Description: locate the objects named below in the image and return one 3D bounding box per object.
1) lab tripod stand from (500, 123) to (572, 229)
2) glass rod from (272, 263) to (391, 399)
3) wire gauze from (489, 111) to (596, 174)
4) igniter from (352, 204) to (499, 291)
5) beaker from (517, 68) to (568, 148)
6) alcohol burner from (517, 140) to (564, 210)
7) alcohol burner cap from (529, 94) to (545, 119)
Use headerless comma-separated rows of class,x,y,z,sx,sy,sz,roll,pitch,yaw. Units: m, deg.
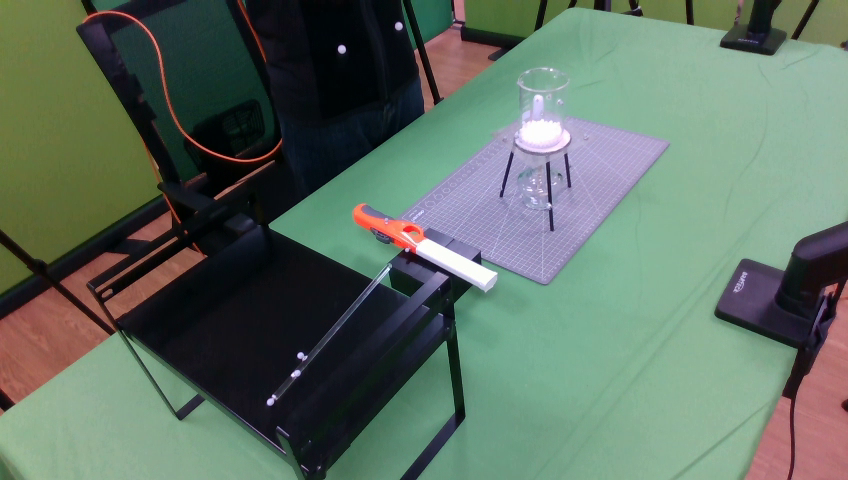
lab tripod stand,0.194,-0.110,0.985,0.148,0.132,0.147,-3,41,3
glass rod,-0.088,0.086,0.618,0.008,0.008,0.200,17,45,26
wire gauze,0.183,-0.159,0.943,0.122,0.011,0.124,-25,47,-17
igniter,-0.009,0.005,0.895,0.274,0.025,0.057,27,48,32
beaker,0.179,-0.198,0.914,0.073,0.100,0.084,25,49,31
alcohol burner,0.193,-0.110,1.001,0.078,0.119,0.077,-5,38,4
alcohol burner cap,0.233,-0.277,1.247,0.034,0.048,0.033,-5,41,5
